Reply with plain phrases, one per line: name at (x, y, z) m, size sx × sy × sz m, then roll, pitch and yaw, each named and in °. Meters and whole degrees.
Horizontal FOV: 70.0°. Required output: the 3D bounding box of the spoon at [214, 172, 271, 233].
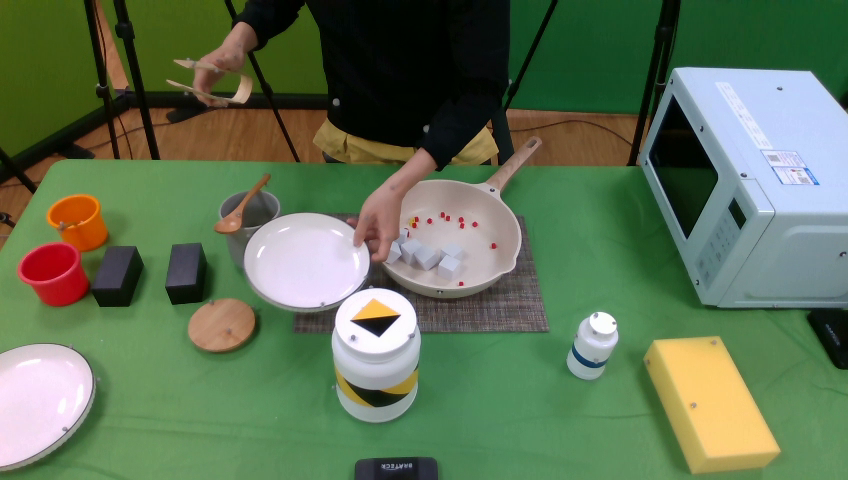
spoon at (-0.312, -0.070, 1.069) m, size 0.041 × 0.022 × 0.193 m, roll 7°, pitch 43°, yaw 13°

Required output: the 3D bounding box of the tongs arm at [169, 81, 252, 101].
tongs arm at (-0.376, -0.272, 1.098) m, size 0.028 × 0.028 × 0.386 m, roll 15°, pitch 10°, yaw -4°

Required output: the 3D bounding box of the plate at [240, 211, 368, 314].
plate at (-0.199, 0.040, 1.017) m, size 0.208 × 0.039 × 0.206 m, roll 6°, pitch 49°, yaw -7°

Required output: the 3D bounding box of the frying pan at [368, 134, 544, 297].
frying pan at (0.104, -0.069, 1.205) m, size 0.305 × 0.103 × 0.487 m, roll 32°, pitch 61°, yaw 23°

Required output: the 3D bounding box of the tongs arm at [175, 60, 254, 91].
tongs arm at (-0.368, -0.292, 1.094) m, size 0.026 × 0.051 × 0.383 m, roll 19°, pitch 14°, yaw -5°

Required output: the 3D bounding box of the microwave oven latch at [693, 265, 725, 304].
microwave oven latch at (0.523, 0.081, 1.116) m, size 0.030 × 0.029 × 0.078 m, roll 2°, pitch 46°, yaw -1°

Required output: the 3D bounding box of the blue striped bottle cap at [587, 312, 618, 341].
blue striped bottle cap at (0.279, 0.134, 0.947) m, size 0.044 × 0.021 × 0.044 m, roll 2°, pitch 44°, yaw -2°

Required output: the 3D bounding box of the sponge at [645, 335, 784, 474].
sponge at (0.449, 0.253, 0.956) m, size 0.118 × 0.061 × 0.205 m, roll -4°, pitch 46°, yaw -7°

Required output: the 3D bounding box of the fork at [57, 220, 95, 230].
fork at (-0.624, -0.027, 1.086) m, size 0.028 × 0.207 × 0.018 m, roll -2°, pitch 91°, yaw -17°

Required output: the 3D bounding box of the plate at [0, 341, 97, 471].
plate at (-0.599, 0.247, 0.904) m, size 0.209 × 0.038 × 0.208 m, roll 2°, pitch 47°, yaw -2°

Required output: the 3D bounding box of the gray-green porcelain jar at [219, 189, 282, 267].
gray-green porcelain jar at (-0.310, -0.014, 1.114) m, size 0.106 × 0.127 × 0.105 m, roll 2°, pitch 46°, yaw -2°

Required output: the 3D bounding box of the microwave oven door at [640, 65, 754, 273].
microwave oven door at (0.522, -0.147, 1.193) m, size 0.039 × 0.245 × 0.353 m, roll 0°, pitch 47°, yaw -3°

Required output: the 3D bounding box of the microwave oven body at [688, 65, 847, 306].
microwave oven body at (0.669, -0.111, 1.176) m, size 0.326 × 0.261 × 0.439 m, roll 0°, pitch 46°, yaw -3°

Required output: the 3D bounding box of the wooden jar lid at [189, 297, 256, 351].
wooden jar lid at (-0.342, 0.145, 1.033) m, size 0.108 × 0.021 × 0.107 m, roll 3°, pitch 45°, yaw -3°

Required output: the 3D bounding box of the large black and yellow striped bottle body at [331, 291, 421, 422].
large black and yellow striped bottle body at (-0.071, 0.175, 0.911) m, size 0.131 × 0.185 × 0.130 m, roll 2°, pitch 47°, yaw -2°

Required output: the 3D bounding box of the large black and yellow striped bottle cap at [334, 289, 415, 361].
large black and yellow striped bottle cap at (-0.069, 0.117, 0.850) m, size 0.115 × 0.019 × 0.114 m, roll 2°, pitch 45°, yaw -2°

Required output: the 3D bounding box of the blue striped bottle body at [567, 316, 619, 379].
blue striped bottle body at (0.276, 0.168, 0.984) m, size 0.063 × 0.121 × 0.062 m, roll 2°, pitch 46°, yaw -2°
